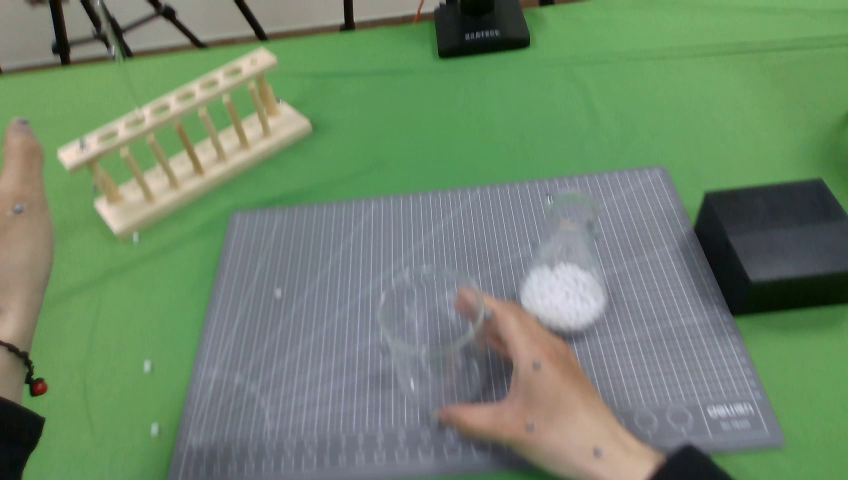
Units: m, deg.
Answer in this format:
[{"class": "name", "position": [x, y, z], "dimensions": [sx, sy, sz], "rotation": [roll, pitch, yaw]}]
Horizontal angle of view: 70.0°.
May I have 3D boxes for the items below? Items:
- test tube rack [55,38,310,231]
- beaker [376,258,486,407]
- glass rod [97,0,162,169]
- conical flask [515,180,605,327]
[{"class": "test tube rack", "position": [-0.251, -0.120, 0.659], "dimensions": [0.242, 0.086, 0.066], "rotation": [-36, 55, -22]}, {"class": "beaker", "position": [0.007, 0.071, 0.452], "dimensions": [0.074, 0.101, 0.083], "rotation": [-25, 50, -13]}, {"class": "glass rod", "position": [-0.294, -0.154, 0.606], "dimensions": [0.008, 0.201, 0.008], "rotation": [0, 42, 0]}, {"class": "conical flask", "position": [0.110, 0.008, 0.476], "dimensions": [0.075, 0.123, 0.074], "rotation": [-4, 50, 5]}]
